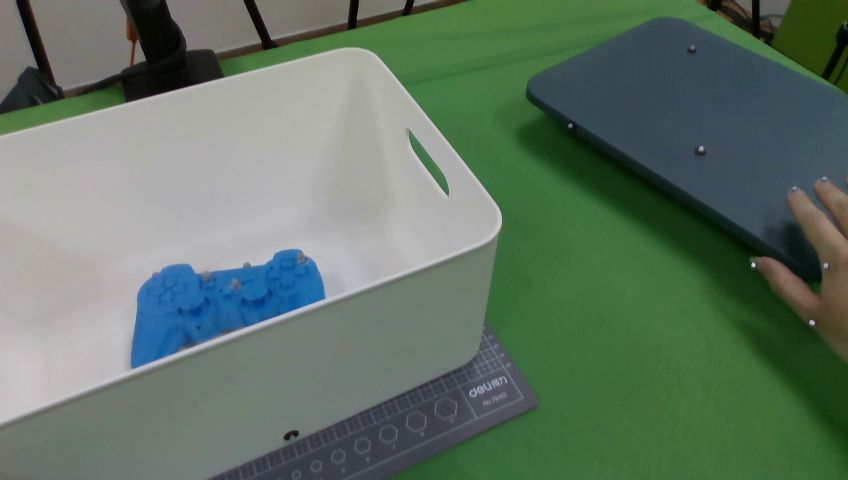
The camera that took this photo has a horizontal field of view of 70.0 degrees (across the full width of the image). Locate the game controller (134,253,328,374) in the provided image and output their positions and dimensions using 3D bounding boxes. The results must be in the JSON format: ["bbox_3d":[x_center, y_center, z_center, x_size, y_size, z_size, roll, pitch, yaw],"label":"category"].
[{"bbox_3d":[-0.155,0.056,0.496,0.155,0.052,0.096,-7,42,-5],"label":"game controller"}]

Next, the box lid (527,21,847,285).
[{"bbox_3d":[0.314,-0.120,0.625,0.263,0.015,0.367,-30,53,-24],"label":"box lid"}]

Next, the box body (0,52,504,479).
[{"bbox_3d":[-0.154,0.026,0.453,0.365,0.162,0.251,-20,49,-16],"label":"box body"}]
